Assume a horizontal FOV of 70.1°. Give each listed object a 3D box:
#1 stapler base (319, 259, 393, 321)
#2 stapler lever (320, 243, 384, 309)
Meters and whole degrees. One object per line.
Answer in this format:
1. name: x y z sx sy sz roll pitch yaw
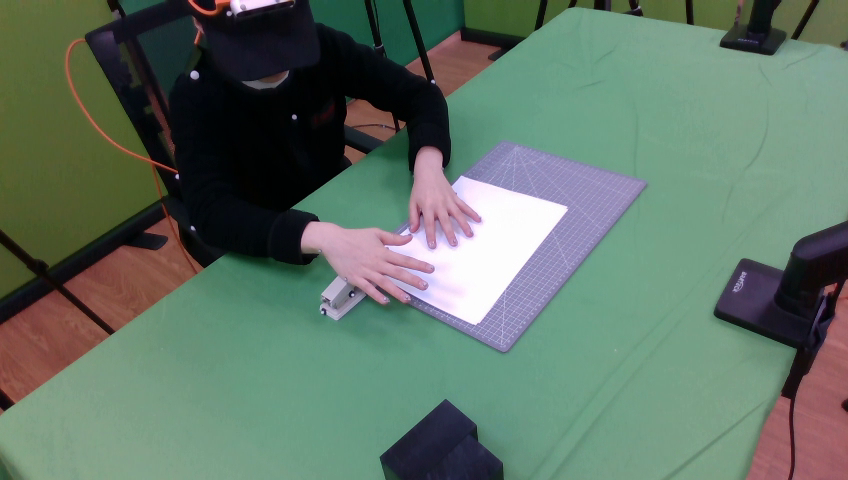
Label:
1. stapler base: -0.102 0.066 0.906 0.041 0.024 0.131 24 53 35
2. stapler lever: -0.106 0.050 0.889 0.026 0.040 0.118 24 52 35
